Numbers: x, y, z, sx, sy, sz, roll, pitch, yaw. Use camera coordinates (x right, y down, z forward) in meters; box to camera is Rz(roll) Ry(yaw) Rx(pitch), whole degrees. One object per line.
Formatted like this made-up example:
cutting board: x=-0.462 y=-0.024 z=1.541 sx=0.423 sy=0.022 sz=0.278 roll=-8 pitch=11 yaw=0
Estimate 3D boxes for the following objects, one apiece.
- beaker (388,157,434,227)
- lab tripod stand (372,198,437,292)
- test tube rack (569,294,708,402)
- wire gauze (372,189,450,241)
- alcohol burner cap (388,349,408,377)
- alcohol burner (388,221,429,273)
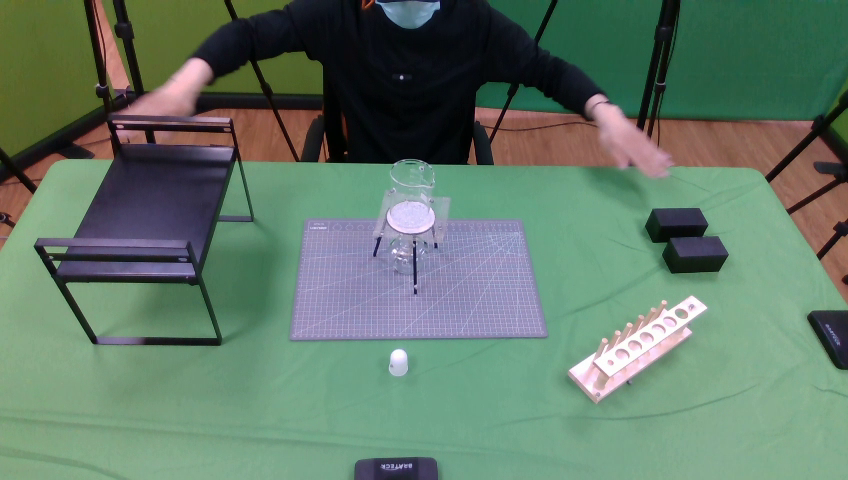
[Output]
beaker: x=-0.021 y=-0.077 z=1.026 sx=0.083 sy=0.101 sz=0.074 roll=30 pitch=50 yaw=22
lab tripod stand: x=-0.025 y=-0.002 z=1.112 sx=0.148 sy=0.132 sz=0.147 roll=2 pitch=44 yaw=-2
test tube rack: x=0.360 y=0.167 z=1.014 sx=0.242 sy=0.085 sz=0.066 roll=-25 pitch=53 yaw=-25
wire gauze: x=-0.020 y=-0.043 z=1.061 sx=0.121 sy=0.011 sz=0.124 roll=9 pitch=42 yaw=2
alcohol burner cap: x=-0.042 y=0.197 z=0.989 sx=0.034 sy=0.048 sz=0.033 roll=3 pitch=46 yaw=-2
alcohol burner: x=-0.028 y=0.006 z=1.118 sx=0.078 sy=0.119 sz=0.077 roll=2 pitch=48 yaw=-2
